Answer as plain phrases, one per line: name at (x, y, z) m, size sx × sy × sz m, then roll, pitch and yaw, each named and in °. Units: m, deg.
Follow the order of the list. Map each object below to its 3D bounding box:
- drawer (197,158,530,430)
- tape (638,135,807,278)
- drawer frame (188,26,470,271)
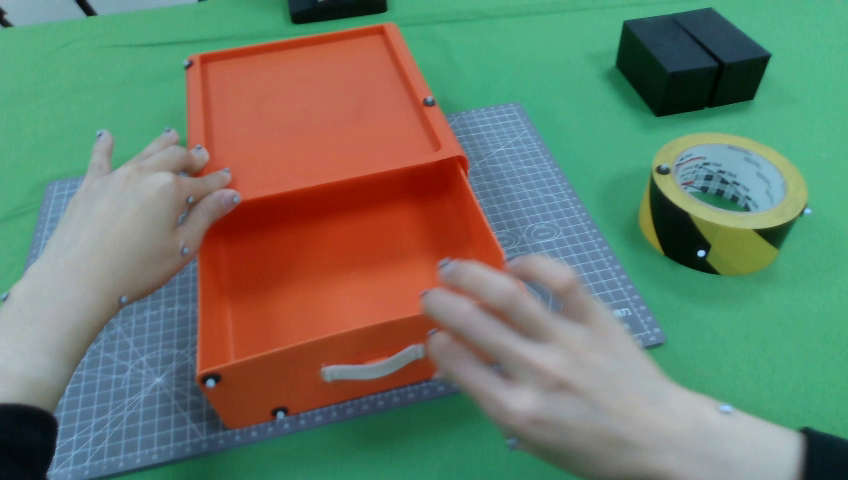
drawer at (-0.055, 0.007, 0.432) m, size 0.195 × 0.074 × 0.209 m, roll -13°, pitch 47°, yaw -9°
tape at (0.229, -0.029, 0.475) m, size 0.117 × 0.053 × 0.115 m, roll -1°, pitch 47°, yaw 1°
drawer frame at (-0.089, -0.084, 0.515) m, size 0.202 × 0.083 × 0.211 m, roll -14°, pitch 47°, yaw -9°
